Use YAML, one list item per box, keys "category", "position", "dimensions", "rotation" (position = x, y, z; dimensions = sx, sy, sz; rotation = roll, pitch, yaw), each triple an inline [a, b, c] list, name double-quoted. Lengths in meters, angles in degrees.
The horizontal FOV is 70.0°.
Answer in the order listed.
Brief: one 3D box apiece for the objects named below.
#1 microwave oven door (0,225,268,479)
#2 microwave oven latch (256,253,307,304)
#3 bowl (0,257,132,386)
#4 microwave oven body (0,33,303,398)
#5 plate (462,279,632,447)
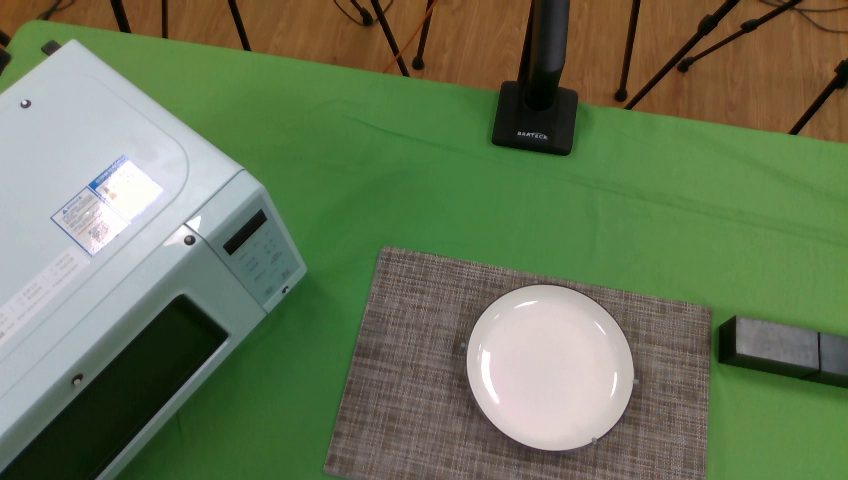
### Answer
- category: "microwave oven door"
  position: [-0.328, 0.161, 0.633]
  dimensions: [0.039, 0.245, 0.355]
  rotation: [36, 72, 16]
- category: "microwave oven latch"
  position: [-0.188, 0.045, 0.793]
  dimensions: [0.030, 0.030, 0.079]
  rotation: [38, 73, 15]
- category: "bowl"
  position: [-0.404, 0.104, 0.704]
  dimensions: [0.151, 0.077, 0.150]
  rotation: [-1, 63, 2]
- category: "microwave oven body"
  position: [-0.416, 0.050, 0.687]
  dimensions: [0.324, 0.262, 0.441]
  rotation: [36, 72, 14]
- category: "plate"
  position: [0.151, 0.153, 0.759]
  dimensions: [0.208, 0.039, 0.206]
  rotation: [0, 67, 0]
